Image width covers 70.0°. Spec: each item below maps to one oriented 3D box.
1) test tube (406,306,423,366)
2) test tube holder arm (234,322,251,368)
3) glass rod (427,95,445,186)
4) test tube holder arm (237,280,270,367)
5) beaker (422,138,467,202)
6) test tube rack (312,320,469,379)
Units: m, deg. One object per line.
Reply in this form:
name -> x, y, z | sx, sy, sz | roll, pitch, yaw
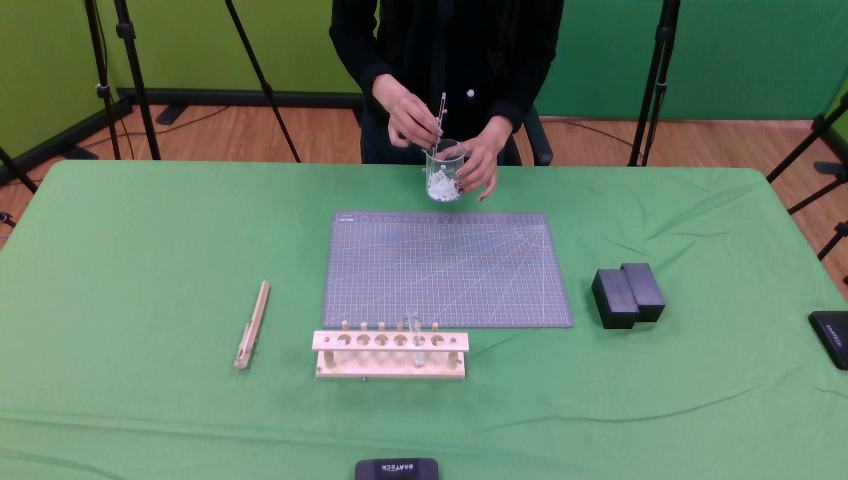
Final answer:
test tube -> -0.013, 0.152, 0.939 | 0.017, 0.151, 0.017 | -3, 48, 3
test tube holder arm -> -0.299, 0.173, 1.013 | 0.010, 0.015, 0.087 | -17, 41, 22
glass rod -> 0.022, -0.176, 1.101 | 0.008, 0.200, 0.008 | 5, 45, -5
test tube holder arm -> -0.291, 0.140, 1.042 | 0.013, 0.015, 0.177 | -17, 41, 21
beaker -> 0.036, -0.130, 1.136 | 0.084, 0.101, 0.073 | 10, 43, 11
test tube rack -> -0.054, 0.173, 0.984 | 0.242, 0.085, 0.066 | 1, 46, -3
